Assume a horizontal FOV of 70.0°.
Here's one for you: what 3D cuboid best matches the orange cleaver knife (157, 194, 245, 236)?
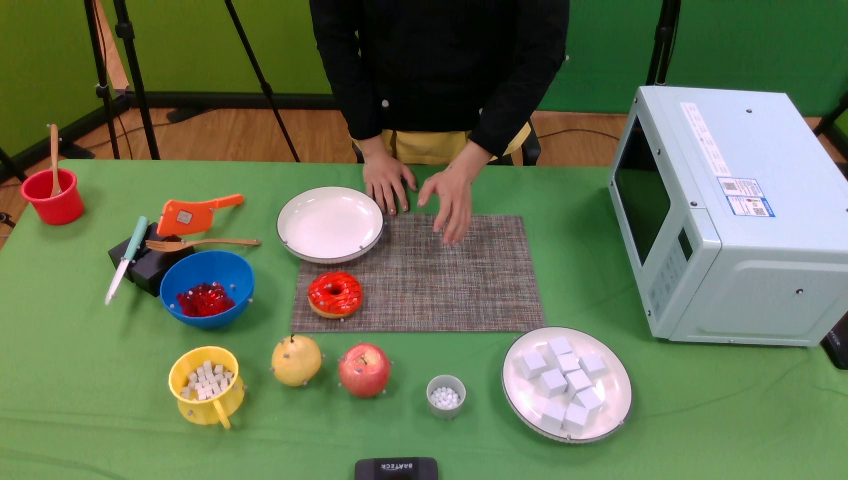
[{"bbox_3d":[-0.427,-0.050,1.175,0.012,0.077,0.211,22,19,20],"label":"orange cleaver knife"}]

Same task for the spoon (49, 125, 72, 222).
[{"bbox_3d":[-0.717,-0.131,1.189,0.041,0.021,0.193,-3,90,-6],"label":"spoon"}]

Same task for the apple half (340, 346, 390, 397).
[{"bbox_3d":[-0.085,0.214,0.950,0.081,0.075,0.053,-29,58,-32],"label":"apple half"}]

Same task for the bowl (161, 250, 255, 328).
[{"bbox_3d":[-0.362,0.097,1.040,0.151,0.077,0.150,2,45,-2],"label":"bowl"}]

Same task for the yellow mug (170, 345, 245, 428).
[{"bbox_3d":[-0.322,0.230,0.922,0.100,0.064,0.130,-24,53,-25],"label":"yellow mug"}]

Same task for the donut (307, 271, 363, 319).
[{"bbox_3d":[-0.157,0.097,1.072,0.099,0.048,0.098,4,45,-4],"label":"donut"}]

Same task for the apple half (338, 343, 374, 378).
[{"bbox_3d":[-0.112,0.193,0.968,0.081,0.081,0.032,-32,59,-29],"label":"apple half"}]

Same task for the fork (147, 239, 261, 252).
[{"bbox_3d":[-0.399,0.007,1.118,0.208,0.019,0.028,-4,36,-36],"label":"fork"}]

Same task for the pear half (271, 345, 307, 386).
[{"bbox_3d":[-0.216,0.200,0.943,0.070,0.088,0.031,27,49,14],"label":"pear half"}]

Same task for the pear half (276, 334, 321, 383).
[{"bbox_3d":[-0.196,0.172,0.957,0.076,0.110,0.056,27,51,16],"label":"pear half"}]

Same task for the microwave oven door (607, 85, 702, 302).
[{"bbox_3d":[0.423,-0.094,1.140,0.039,0.245,0.353,2,46,-1],"label":"microwave oven door"}]

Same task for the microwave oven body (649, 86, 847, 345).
[{"bbox_3d":[0.567,-0.053,1.118,0.326,0.261,0.439,2,45,-1],"label":"microwave oven body"}]

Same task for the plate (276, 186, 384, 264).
[{"bbox_3d":[-0.184,-0.027,1.195,0.209,0.038,0.208,2,46,-2],"label":"plate"}]

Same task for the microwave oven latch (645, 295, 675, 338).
[{"bbox_3d":[0.411,0.134,1.061,0.030,0.029,0.078,3,45,0],"label":"microwave oven latch"}]

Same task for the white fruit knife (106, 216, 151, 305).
[{"bbox_3d":[-0.519,0.032,1.066,0.027,0.016,0.206,-18,45,19],"label":"white fruit knife"}]

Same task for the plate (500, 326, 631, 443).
[{"bbox_3d":[0.224,0.234,0.978,0.208,0.039,0.206,2,46,-2],"label":"plate"}]

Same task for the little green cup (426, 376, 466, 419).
[{"bbox_3d":[0.033,0.248,0.950,0.061,0.039,0.061,2,46,-2],"label":"little green cup"}]
